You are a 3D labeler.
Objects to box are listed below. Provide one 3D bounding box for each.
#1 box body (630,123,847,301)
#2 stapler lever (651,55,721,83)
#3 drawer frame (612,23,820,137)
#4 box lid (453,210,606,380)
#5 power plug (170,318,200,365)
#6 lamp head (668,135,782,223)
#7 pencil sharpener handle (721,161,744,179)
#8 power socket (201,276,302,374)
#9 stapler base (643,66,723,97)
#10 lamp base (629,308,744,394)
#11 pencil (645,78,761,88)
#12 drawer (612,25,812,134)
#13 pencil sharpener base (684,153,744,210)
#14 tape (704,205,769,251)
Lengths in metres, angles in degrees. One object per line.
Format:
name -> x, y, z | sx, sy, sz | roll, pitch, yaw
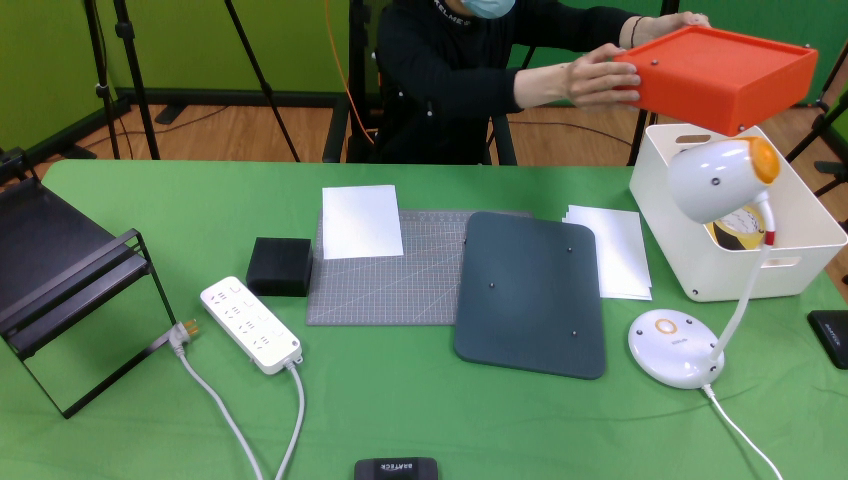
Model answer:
box body -> 0.594, -0.062, 1.202 | 0.254, 0.161, 0.361 | -4, 47, -7
stapler lever -> 0.418, -0.280, 0.966 | 0.118, 0.040, 0.026 | -16, 39, -11
drawer frame -> 0.438, -0.253, 0.929 | 0.202, 0.083, 0.212 | -26, 40, -25
box lid -> 0.200, 0.085, 1.138 | 0.263, 0.015, 0.369 | 8, 47, 3
power plug -> -0.392, 0.167, 1.014 | 0.052, 0.035, 0.072 | -31, 89, -23
lamp head -> 0.418, -0.087, 0.826 | 0.113, 0.123, 0.112 | 8, 75, -31
pencil sharpener handle -> 0.668, -0.147, 1.299 | 0.031, 0.068, 0.036 | -8, 78, -13
power socket -> -0.298, 0.141, 1.034 | 0.072, 0.033, 0.225 | -34, 58, -30
stapler base -> 0.419, -0.260, 0.980 | 0.131, 0.024, 0.041 | -15, 39, -12
lamp base -> 0.445, 0.139, 0.987 | 0.161, 0.181, 0.178 | -19, 53, -20
pencil -> 0.442, -0.249, 0.960 | 0.194, 0.012, 0.012 | 0, 46, -7
drawer -> 0.434, -0.253, 0.933 | 0.194, 0.073, 0.210 | -26, 40, -24
pencil sharpener base -> 0.619, -0.124, 1.293 | 0.077, 0.107, 0.061 | -8, 47, -13
tape -> 0.633, -0.025, 1.238 | 0.117, 0.053, 0.116 | 2, 46, -2
